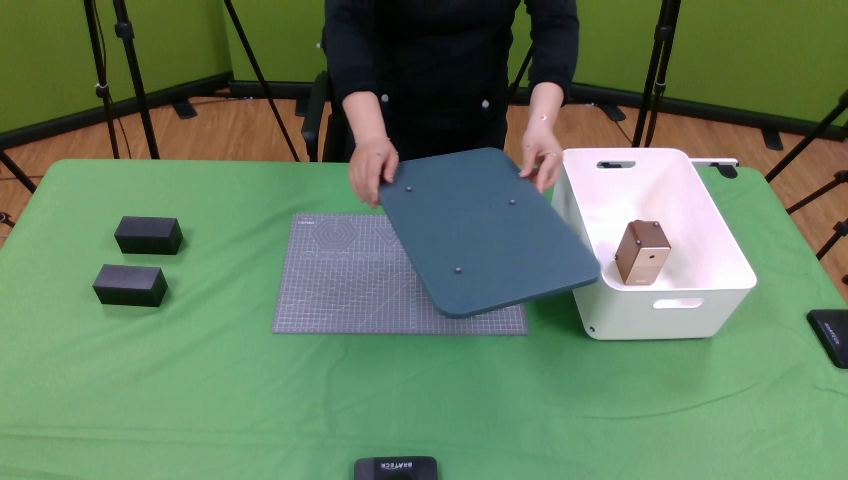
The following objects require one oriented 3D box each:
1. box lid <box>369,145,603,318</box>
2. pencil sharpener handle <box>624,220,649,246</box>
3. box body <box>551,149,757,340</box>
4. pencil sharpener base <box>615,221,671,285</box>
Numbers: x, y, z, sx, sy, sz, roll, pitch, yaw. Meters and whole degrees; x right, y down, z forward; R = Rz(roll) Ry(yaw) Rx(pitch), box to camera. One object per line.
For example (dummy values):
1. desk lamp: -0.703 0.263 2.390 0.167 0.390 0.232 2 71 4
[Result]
1. box lid: 0.083 -0.032 0.957 0.264 0.015 0.369 -13 43 -17
2. pencil sharpener handle: 0.403 -0.020 1.163 0.036 0.068 0.030 4 44 -9
3. box body: 0.395 0.003 1.127 0.254 0.161 0.361 -1 46 -5
4. pencil sharpener base: 0.407 0.024 1.136 0.061 0.107 0.076 -1 45 -4
